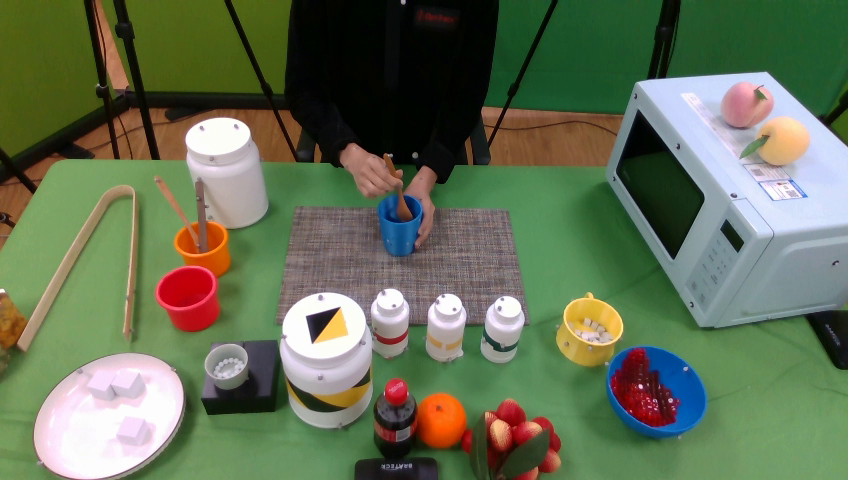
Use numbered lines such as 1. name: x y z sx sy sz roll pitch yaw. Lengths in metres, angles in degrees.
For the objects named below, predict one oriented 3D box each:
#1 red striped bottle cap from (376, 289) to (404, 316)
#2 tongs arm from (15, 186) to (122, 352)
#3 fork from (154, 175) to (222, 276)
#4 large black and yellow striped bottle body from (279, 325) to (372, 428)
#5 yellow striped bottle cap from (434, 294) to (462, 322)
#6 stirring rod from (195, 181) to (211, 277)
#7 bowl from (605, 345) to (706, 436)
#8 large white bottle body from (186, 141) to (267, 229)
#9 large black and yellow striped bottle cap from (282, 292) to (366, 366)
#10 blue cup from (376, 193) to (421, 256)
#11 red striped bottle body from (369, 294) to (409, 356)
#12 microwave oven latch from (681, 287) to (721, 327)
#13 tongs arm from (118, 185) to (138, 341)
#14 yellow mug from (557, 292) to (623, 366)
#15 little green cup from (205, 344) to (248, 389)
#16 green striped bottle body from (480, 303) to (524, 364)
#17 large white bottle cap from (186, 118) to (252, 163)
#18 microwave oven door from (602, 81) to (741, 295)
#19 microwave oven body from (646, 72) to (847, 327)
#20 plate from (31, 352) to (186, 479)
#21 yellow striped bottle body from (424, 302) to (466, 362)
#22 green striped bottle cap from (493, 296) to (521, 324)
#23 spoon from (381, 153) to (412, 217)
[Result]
1. red striped bottle cap: -0.054 0.098 0.958 0.044 0.018 0.044 0 48 1
2. tongs arm: -0.642 0.036 1.107 0.028 0.028 0.385 -2 46 5
3. fork: -0.431 -0.027 1.101 0.028 0.018 0.207 -33 100 -25
4. large black and yellow striped bottle body: -0.143 0.181 0.900 0.131 0.185 0.130 2 46 -2
5. yellow striped bottle cap: 0.038 0.107 0.958 0.044 0.019 0.044 2 45 -2
6. stirring rod: -0.403 -0.020 1.104 0.014 0.006 0.176 -6 89 -9
7. bowl: 0.351 0.247 0.950 0.151 0.077 0.150 2 46 -2
8. large white bottle body: -0.382 -0.127 1.175 0.131 0.185 0.130 2 47 -2
9. large black and yellow striped bottle cap: -0.138 0.121 0.841 0.115 0.019 0.114 3 47 -3
10. blue cup: -0.049 -0.023 1.158 0.093 0.101 0.092 2 45 -2
11. red striped bottle body: -0.059 0.134 0.997 0.063 0.120 0.062 5 47 -5
12. microwave oven latch: 0.494 0.119 1.087 0.030 0.029 0.078 -5 46 -9
13. tongs arm: -0.555 0.028 1.116 0.051 0.027 0.382 -11 47 -8
14. yellow mug: 0.285 0.145 1.051 0.100 0.064 0.130 7 46 4
15. little green cup: -0.294 0.191 0.909 0.061 0.039 0.061 1 47 -1
16. green striped bottle body: 0.129 0.147 1.000 0.063 0.120 0.063 2 46 -2
17. large white bottle cap: -0.377 -0.185 1.115 0.115 0.018 0.114 2 47 -2
18. microwave oven door: 0.456 -0.107 1.162 0.039 0.245 0.353 -7 47 -11
19. microwave oven body: 0.607 -0.089 1.164 0.326 0.261 0.438 -7 46 -10
20. plate: -0.459 0.262 0.898 0.209 0.038 0.208 2 46 -2
21. yellow striped bottle body: 0.035 0.143 0.995 0.063 0.121 0.062 3 46 -3
22. green striped bottle cap: 0.133 0.111 0.962 0.044 0.020 0.044 2 47 -2
23. spoon: -0.049 -0.089 1.100 0.041 0.195 0.021 20 57 27
